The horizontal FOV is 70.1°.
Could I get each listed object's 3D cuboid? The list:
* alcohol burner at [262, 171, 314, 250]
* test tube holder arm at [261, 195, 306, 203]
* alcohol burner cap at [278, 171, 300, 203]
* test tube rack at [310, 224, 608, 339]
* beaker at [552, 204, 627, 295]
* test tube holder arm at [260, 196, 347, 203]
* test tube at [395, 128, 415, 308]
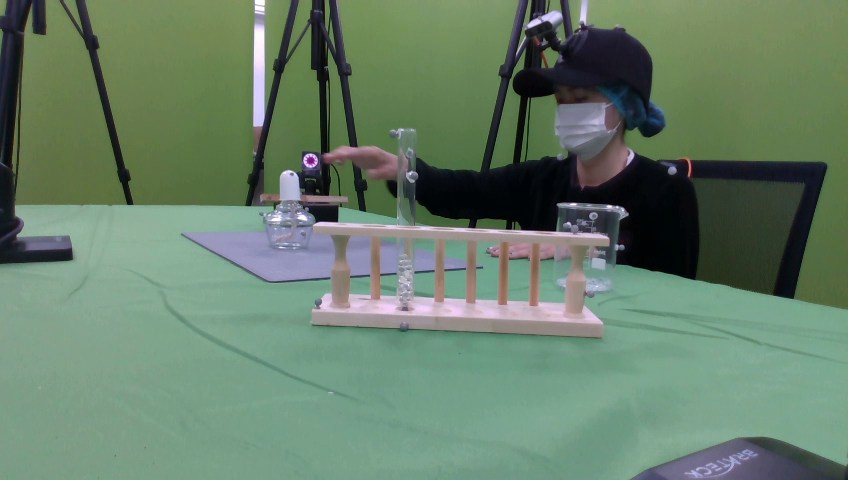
[{"bbox_3d":[-0.205,-0.045,0.913,0.078,0.119,0.078,1,9,0],"label":"alcohol burner"},{"bbox_3d":[-0.275,-0.081,1.185,0.088,0.015,0.010,-1,0,-32],"label":"test tube holder arm"},{"bbox_3d":[-0.203,-0.080,0.909,0.034,0.048,0.034,-1,3,0],"label":"alcohol burner cap"},{"bbox_3d":[0.028,0.032,0.528,0.242,0.085,0.067,3,7,0],"label":"test tube rack"},{"bbox_3d":[0.191,0.010,0.708,0.083,0.100,0.074,8,9,33],"label":"beaker"},{"bbox_3d":[-0.239,-0.082,1.213,0.179,0.015,0.013,-1,0,-32],"label":"test tube holder arm"},{"bbox_3d":[-0.016,-0.016,0.502,0.017,0.150,0.017,1,10,0],"label":"test tube"}]
